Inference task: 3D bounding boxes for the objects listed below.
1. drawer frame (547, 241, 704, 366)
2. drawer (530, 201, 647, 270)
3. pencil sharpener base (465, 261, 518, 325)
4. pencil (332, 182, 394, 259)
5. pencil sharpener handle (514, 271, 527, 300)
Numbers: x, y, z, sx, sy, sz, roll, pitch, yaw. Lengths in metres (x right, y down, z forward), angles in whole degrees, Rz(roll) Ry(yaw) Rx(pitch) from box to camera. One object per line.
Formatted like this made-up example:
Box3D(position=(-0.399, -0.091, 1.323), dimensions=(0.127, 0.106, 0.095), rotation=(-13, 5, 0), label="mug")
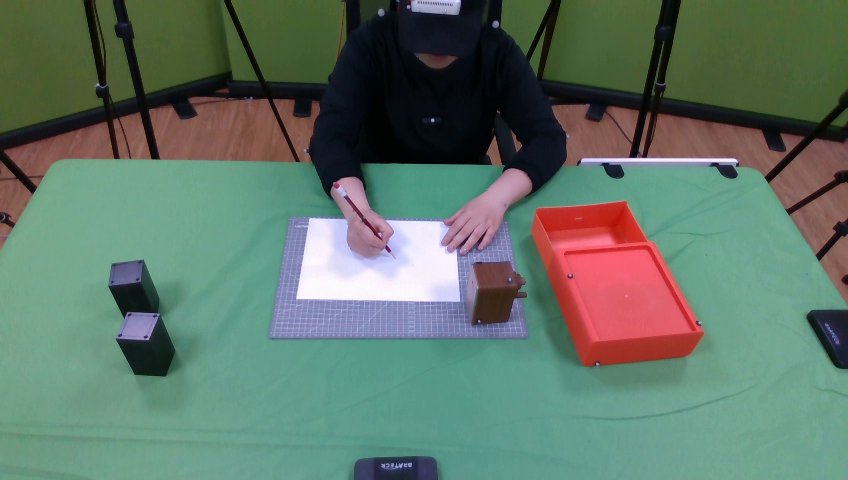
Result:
Box3D(position=(0.348, 0.106, 1.077), dimensions=(0.202, 0.083, 0.212), rotation=(-4, 47, -9), label="drawer frame")
Box3D(position=(0.329, 0.025, 1.159), dimensions=(0.195, 0.073, 0.210), rotation=(-5, 46, -9), label="drawer")
Box3D(position=(0.117, 0.093, 1.053), dimensions=(0.077, 0.107, 0.061), rotation=(-3, 46, -7), label="pencil sharpener base")
Box3D(position=(-0.110, -0.033, 1.120), dimensions=(0.012, 0.195, 0.012), rotation=(-27, 30, 17), label="pencil")
Box3D(position=(0.169, 0.081, 1.051), dimensions=(0.031, 0.068, 0.035), rotation=(-3, 48, -7), label="pencil sharpener handle")
